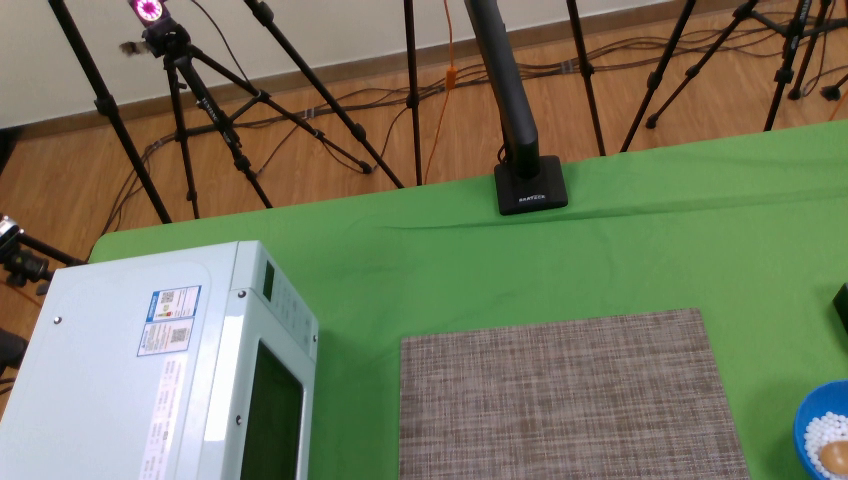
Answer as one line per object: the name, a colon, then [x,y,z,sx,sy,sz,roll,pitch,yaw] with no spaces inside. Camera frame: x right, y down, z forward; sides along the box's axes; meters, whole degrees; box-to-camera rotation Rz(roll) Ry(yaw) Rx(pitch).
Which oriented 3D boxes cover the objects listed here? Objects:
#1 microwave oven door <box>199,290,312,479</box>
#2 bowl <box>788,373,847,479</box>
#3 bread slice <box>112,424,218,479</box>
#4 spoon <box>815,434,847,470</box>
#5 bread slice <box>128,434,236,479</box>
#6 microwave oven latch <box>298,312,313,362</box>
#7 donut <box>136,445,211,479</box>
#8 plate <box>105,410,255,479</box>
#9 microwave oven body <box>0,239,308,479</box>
microwave oven door: [-0.203,0.272,0.747,0.039,0.246,0.352,-9,54,7]
bowl: [0.509,0.244,0.720,0.151,0.077,0.150,-6,54,9]
bread slice: [-0.334,0.298,0.761,0.130,0.019,0.105,37,73,29]
spoon: [0.551,0.223,0.684,0.193,0.022,0.041,-24,44,24]
bread slice: [-0.328,0.322,0.800,0.133,0.018,0.107,26,57,32]
microwave oven latch: [-0.191,0.153,0.955,0.030,0.030,0.078,-9,55,7]
donut: [-0.323,0.315,0.780,0.099,0.049,0.098,-3,53,5]
plate: [-0.321,0.332,0.802,0.207,0.039,0.205,-5,55,7]
microwave oven body: [-0.347,0.264,0.794,0.326,0.263,0.437,-9,55,7]
